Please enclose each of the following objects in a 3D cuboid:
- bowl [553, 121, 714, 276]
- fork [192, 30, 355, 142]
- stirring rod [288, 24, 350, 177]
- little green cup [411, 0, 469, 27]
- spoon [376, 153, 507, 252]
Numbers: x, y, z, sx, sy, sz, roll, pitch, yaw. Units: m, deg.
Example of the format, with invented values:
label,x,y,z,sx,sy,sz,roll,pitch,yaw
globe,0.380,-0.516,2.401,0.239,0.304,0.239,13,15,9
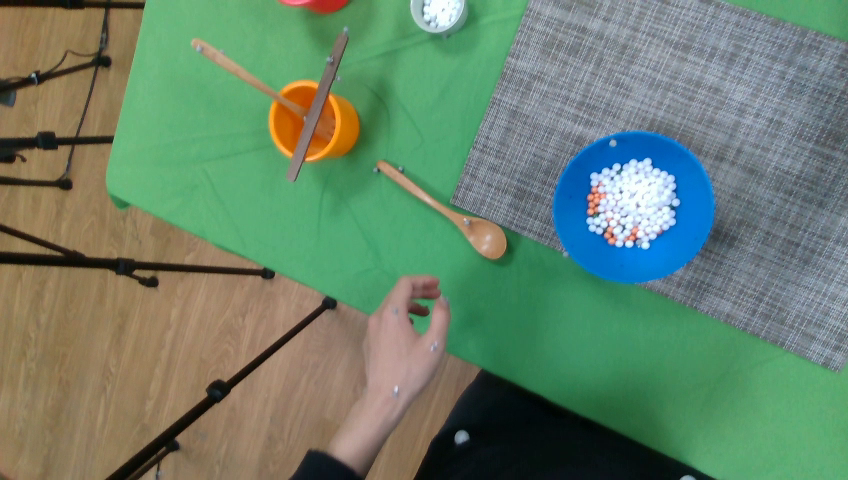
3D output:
label,x,y,z,sx,sy,sz,roll,pitch,yaw
bowl,0.213,-0.043,0.626,0.151,0.077,0.151,2,98,17
fork,-0.166,-0.173,0.690,0.209,0.018,0.028,29,113,-34
stirring rod,-0.118,-0.153,0.675,0.014,0.006,0.176,26,104,13
little green cup,0.020,-0.269,0.678,0.061,0.038,0.061,2,98,18
spoon,0.018,-0.050,0.717,0.193,0.021,0.042,35,120,9
